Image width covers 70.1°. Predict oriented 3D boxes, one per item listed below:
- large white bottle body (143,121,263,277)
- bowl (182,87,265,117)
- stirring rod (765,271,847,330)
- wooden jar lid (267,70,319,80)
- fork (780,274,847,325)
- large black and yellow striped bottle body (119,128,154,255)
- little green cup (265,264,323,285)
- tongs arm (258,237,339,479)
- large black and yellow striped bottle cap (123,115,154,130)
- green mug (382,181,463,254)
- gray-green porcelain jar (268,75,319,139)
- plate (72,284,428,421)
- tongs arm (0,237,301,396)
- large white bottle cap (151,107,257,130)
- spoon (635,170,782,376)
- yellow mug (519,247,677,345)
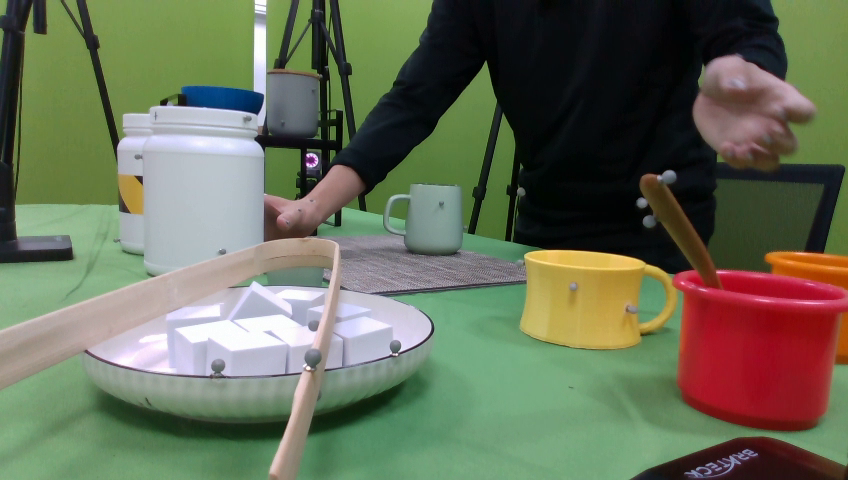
[{"bbox_3d":[-0.254,-0.054,0.702,0.131,0.184,0.130,2,8,0],"label":"large white bottle body"},{"bbox_3d":[-0.383,-0.244,1.158,0.151,0.077,0.151,2,7,0],"label":"bowl"},{"bbox_3d":[0.351,0.020,0.481,0.176,0.006,0.014,-40,-6,17],"label":"stirring rod"},{"bbox_3d":[-0.275,-0.339,1.271,0.108,0.020,0.108,5,6,0],"label":"wooden jar lid"},{"bbox_3d":[0.332,0.018,0.443,0.028,0.018,0.207,-2,-35,-16],"label":"fork"},{"bbox_3d":[-0.355,-0.076,0.850,0.131,0.184,0.130,2,8,0],"label":"large black and yellow striped bottle body"},{"bbox_3d":[-0.135,0.034,0.627,0.061,0.038,0.061,3,6,0],"label":"little green cup"},{"bbox_3d":[-0.074,0.040,0.345,0.051,0.026,0.384,-2,9,-3],"label":"tongs arm"},{"bbox_3d":[-0.353,-0.159,0.838,0.115,0.019,0.115,2,6,0],"label":"large black and yellow striped bottle cap"},{"bbox_3d":[-0.001,-0.036,0.922,0.126,0.105,0.092,0,8,-16],"label":"green mug"},{"bbox_3d":[-0.277,-0.279,1.280,0.106,0.126,0.106,2,8,0],"label":"gray-green porcelain jar"},{"bbox_3d":[-0.102,0.067,0.381,0.208,0.039,0.207,2,7,0],"label":"plate"},{"bbox_3d":[-0.158,0.039,0.347,0.028,0.028,0.388,-3,8,11],"label":"tongs arm"},{"bbox_3d":[-0.250,-0.138,0.692,0.115,0.018,0.115,3,7,0],"label":"large white bottle cap"},{"bbox_3d":[0.161,0.026,0.346,0.041,0.194,0.021,9,55,53],"label":"spoon"},{"bbox_3d":[0.148,0.045,0.513,0.131,0.064,0.100,3,7,0],"label":"yellow mug"}]
